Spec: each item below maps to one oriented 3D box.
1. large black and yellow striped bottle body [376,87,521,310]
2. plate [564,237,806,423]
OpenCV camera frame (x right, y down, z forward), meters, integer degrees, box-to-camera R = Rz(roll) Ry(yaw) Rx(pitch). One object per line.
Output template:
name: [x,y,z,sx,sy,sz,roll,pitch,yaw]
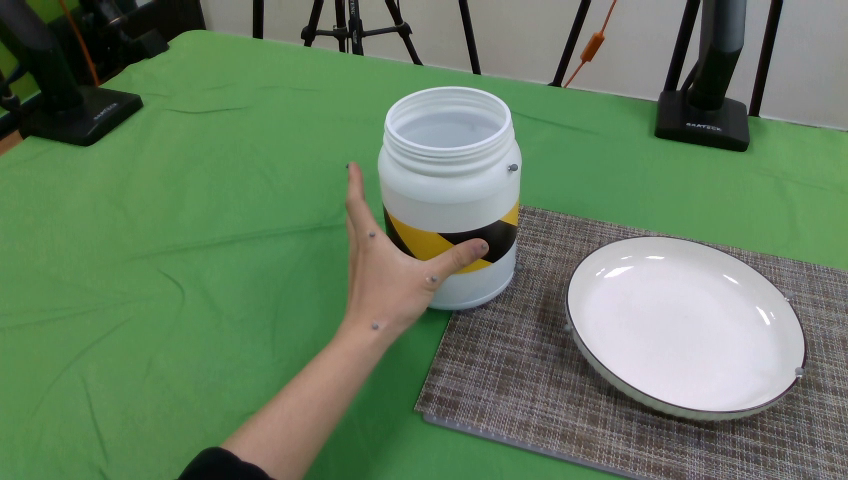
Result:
large black and yellow striped bottle body: [0.024,-0.038,0.576,0.131,0.186,0.129,-2,42,2]
plate: [0.231,0.079,0.557,0.208,0.039,0.205,0,42,0]
